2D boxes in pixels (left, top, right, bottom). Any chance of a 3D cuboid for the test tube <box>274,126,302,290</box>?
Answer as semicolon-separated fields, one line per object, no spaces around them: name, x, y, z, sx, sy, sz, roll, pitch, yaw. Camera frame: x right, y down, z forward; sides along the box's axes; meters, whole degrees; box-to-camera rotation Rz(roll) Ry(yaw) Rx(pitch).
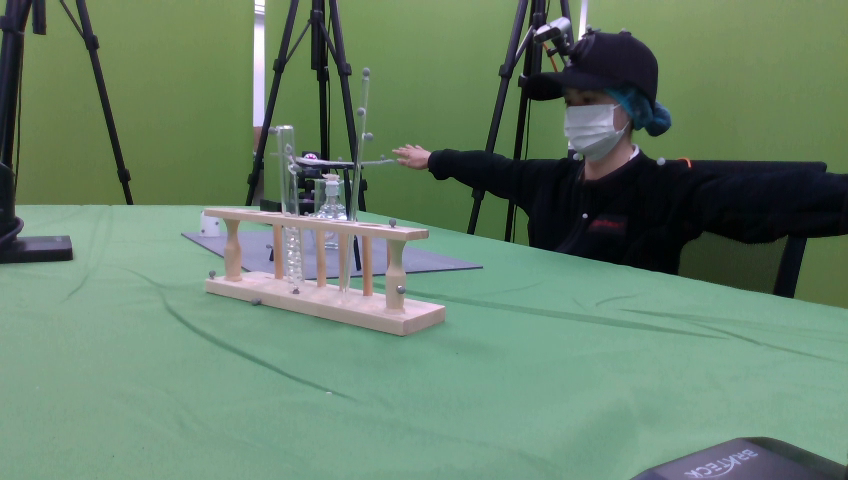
test tube;-0.123;-0.028;0.552;0.017;0.150;0.017;-2;7;1

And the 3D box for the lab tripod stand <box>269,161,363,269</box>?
lab tripod stand;-0.125;-0.036;0.794;0.148;0.131;0.148;5;7;0

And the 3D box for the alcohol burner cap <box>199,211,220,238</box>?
alcohol burner cap;-0.356;-0.027;1.002;0.034;0.048;0.034;2;7;0

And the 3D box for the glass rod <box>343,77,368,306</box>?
glass rod;-0.059;-0.038;0.518;0.008;0.199;0.008;6;8;0

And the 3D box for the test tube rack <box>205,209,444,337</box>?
test tube rack;-0.100;0.021;0.565;0.241;0.085;0.067;7;8;32

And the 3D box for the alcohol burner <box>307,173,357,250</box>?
alcohol burner;-0.144;-0.045;0.940;0.078;0.119;0.078;1;8;0

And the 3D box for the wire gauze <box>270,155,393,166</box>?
wire gauze;-0.121;-0.102;0.785;0.122;0.011;0.124;-3;10;-39

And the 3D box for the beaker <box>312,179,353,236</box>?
beaker;-0.167;-0.060;1.103;0.074;0.100;0.084;1;8;-11
